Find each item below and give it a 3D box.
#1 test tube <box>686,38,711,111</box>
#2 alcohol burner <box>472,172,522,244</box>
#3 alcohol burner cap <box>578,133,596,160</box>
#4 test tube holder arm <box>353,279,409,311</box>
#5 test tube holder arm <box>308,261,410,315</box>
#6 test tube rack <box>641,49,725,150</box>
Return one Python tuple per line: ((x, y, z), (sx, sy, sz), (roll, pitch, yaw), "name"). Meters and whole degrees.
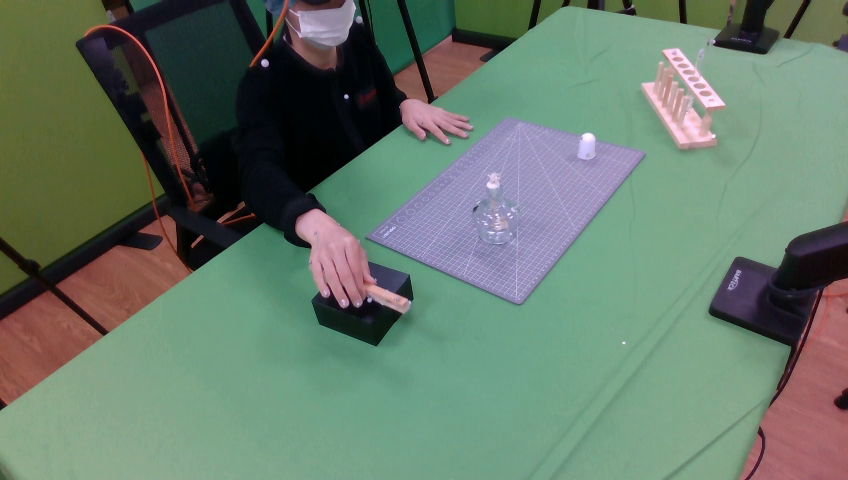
((0.508, -0.305, 1.128), (0.017, 0.151, 0.017), (-2, 46, 3), "test tube")
((0.112, -0.053, 0.942), (0.078, 0.119, 0.077), (-6, 40, 5), "alcohol burner")
((0.301, -0.174, 1.111), (0.034, 0.048, 0.033), (-5, 41, 4), "alcohol burner cap")
((-0.058, 0.072, 0.803), (0.087, 0.010, 0.015), (20, 45, 32), "test tube holder arm")
((-0.093, 0.063, 0.830), (0.177, 0.013, 0.015), (21, 45, 32), "test tube holder arm")
((0.495, -0.279, 1.175), (0.067, 0.085, 0.241), (-5, 41, 3), "test tube rack")
